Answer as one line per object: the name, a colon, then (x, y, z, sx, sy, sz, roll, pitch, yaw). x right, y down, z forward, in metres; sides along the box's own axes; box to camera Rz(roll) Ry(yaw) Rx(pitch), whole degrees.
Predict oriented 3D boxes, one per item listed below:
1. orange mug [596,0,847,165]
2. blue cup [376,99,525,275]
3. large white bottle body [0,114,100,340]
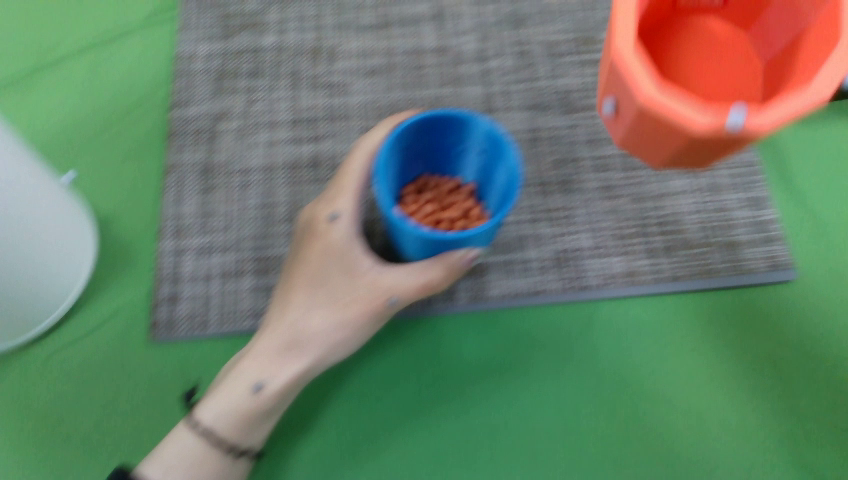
orange mug: (0.135, -0.089, 0.255, 0.126, 0.101, 0.083, -29, 84, 15)
blue cup: (0.013, -0.023, 0.387, 0.093, 0.101, 0.092, 1, 65, -3)
large white bottle body: (-0.289, -0.025, 0.341, 0.131, 0.186, 0.129, 1, 67, -1)
